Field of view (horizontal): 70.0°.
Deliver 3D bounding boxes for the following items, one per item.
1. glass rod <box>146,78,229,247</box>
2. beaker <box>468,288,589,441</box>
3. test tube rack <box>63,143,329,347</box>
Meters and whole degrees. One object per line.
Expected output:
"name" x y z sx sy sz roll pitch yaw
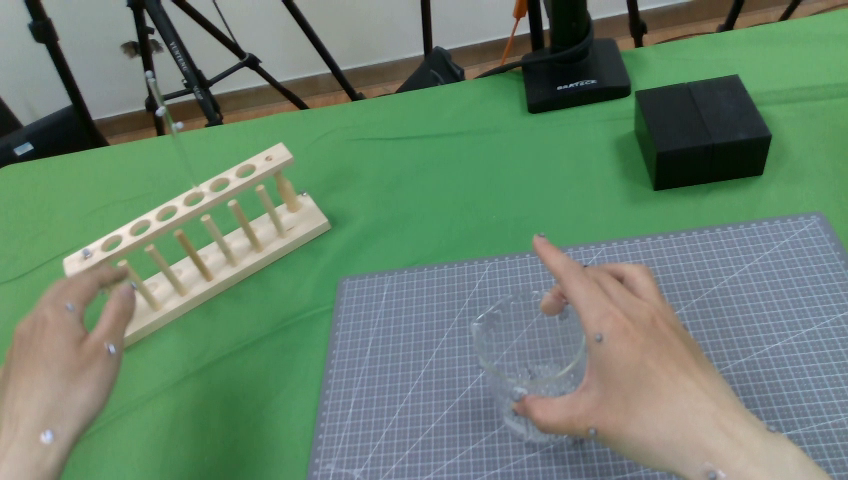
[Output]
"glass rod" -0.231 -0.067 0.603 0.008 0.201 0.008 -6 39 6
"beaker" 0.078 0.093 0.438 0.083 0.101 0.073 11 53 26
"test tube rack" -0.230 0.002 0.631 0.242 0.086 0.066 -31 47 -12
